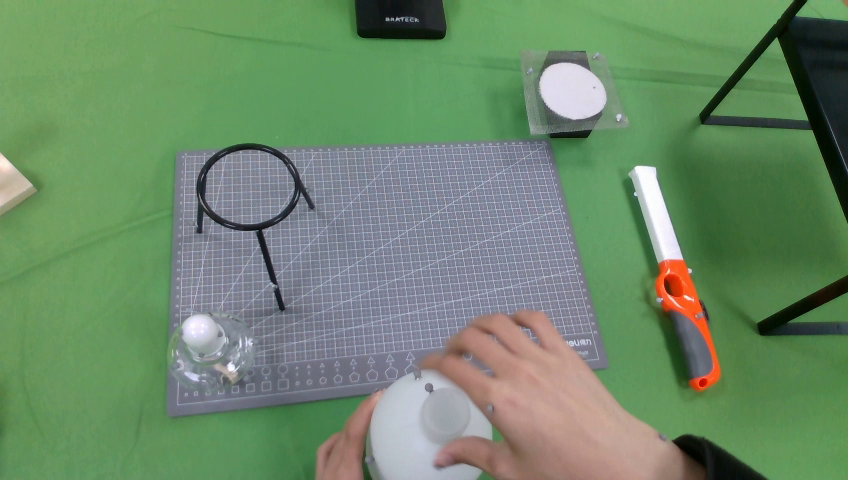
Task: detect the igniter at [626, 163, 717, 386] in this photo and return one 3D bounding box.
[{"bbox_3d":[0.285,0.032,0.705,0.057,0.025,0.274,1,65,-20],"label":"igniter"}]

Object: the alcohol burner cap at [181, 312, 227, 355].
[{"bbox_3d":[-0.190,0.079,0.518,0.034,0.048,0.033,3,70,-7],"label":"alcohol burner cap"}]

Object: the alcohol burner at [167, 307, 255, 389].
[{"bbox_3d":[-0.195,0.093,0.551,0.078,0.120,0.077,4,63,-8],"label":"alcohol burner"}]

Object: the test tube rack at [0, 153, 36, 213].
[{"bbox_3d":[-0.515,-0.017,0.571,0.066,0.085,0.242,41,66,11],"label":"test tube rack"}]

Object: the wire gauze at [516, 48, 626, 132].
[{"bbox_3d":[0.178,-0.188,0.748,0.122,0.011,0.124,-2,66,-9],"label":"wire gauze"}]

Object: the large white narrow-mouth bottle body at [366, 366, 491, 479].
[{"bbox_3d":[0.003,0.161,0.507,0.102,0.196,0.101,3,64,-6],"label":"large white narrow-mouth bottle body"}]

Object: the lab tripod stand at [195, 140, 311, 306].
[{"bbox_3d":[-0.164,-0.021,0.598,0.149,0.132,0.147,4,65,-9],"label":"lab tripod stand"}]

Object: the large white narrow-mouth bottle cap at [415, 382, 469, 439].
[{"bbox_3d":[0.012,0.121,0.428,0.038,0.024,0.037,3,64,-6],"label":"large white narrow-mouth bottle cap"}]
